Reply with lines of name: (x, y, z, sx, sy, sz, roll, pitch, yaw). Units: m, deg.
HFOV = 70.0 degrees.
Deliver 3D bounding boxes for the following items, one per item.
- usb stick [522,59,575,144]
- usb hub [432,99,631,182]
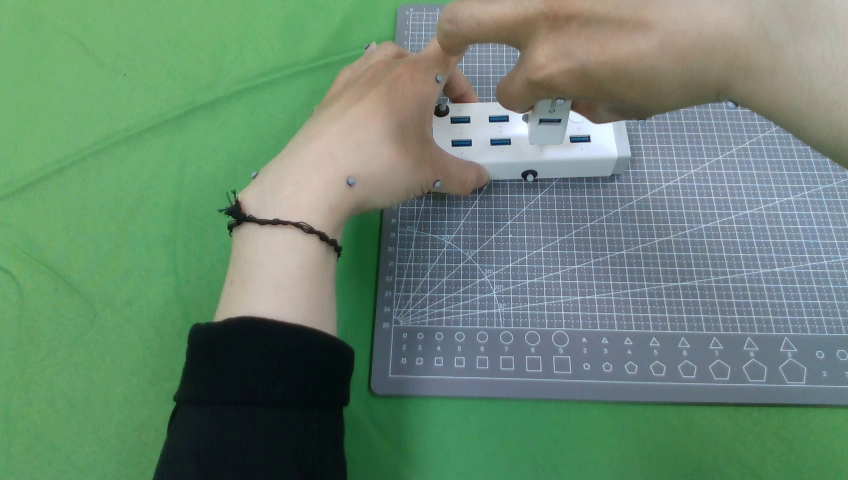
usb stick: (0.071, -0.076, 0.359, 0.021, 0.059, 0.027, 2, 59, -2)
usb hub: (0.067, -0.066, 0.397, 0.125, 0.025, 0.049, -1, 63, 0)
